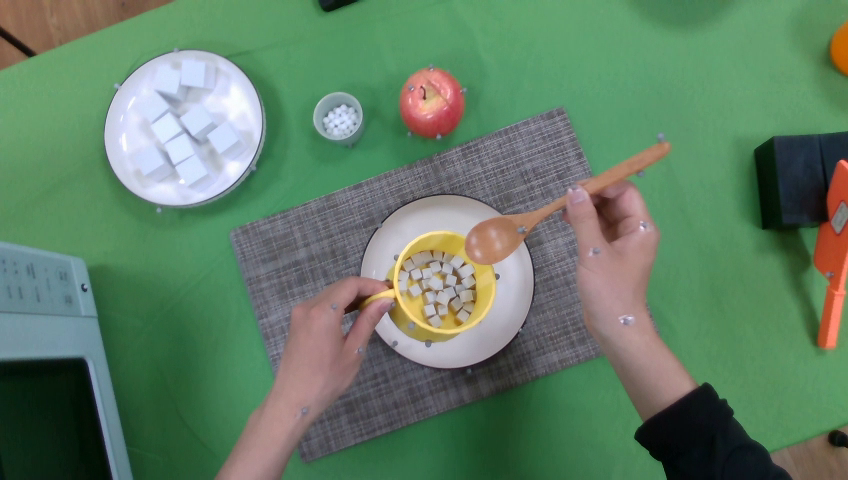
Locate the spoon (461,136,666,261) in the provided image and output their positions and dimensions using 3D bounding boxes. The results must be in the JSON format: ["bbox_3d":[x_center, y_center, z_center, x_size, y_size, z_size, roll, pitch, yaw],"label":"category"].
[{"bbox_3d":[0.113,-0.034,0.514,0.193,0.022,0.041,-30,80,30],"label":"spoon"}]

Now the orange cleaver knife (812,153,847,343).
[{"bbox_3d":[0.450,0.013,0.670,0.012,0.076,0.213,-1,114,7],"label":"orange cleaver knife"}]

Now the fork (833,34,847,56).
[{"bbox_3d":[0.569,-0.256,0.664,0.207,0.019,0.028,-20,75,46],"label":"fork"}]

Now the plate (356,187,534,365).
[{"bbox_3d":[0.025,0.042,0.720,0.209,0.038,0.208,-1,83,4],"label":"plate"}]

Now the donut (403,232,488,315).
[{"bbox_3d":[0.025,0.039,0.709,0.099,0.048,0.099,0,85,4],"label":"donut"}]

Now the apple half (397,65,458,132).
[{"bbox_3d":[-0.002,-0.163,0.736,0.053,0.075,0.080,-41,85,3],"label":"apple half"}]

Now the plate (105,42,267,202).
[{"bbox_3d":[-0.299,-0.148,0.774,0.207,0.039,0.207,-1,82,5],"label":"plate"}]

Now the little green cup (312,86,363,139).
[{"bbox_3d":[-0.106,-0.157,0.761,0.061,0.039,0.061,-1,82,5],"label":"little green cup"}]

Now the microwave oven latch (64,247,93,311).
[{"bbox_3d":[-0.430,0.049,0.740,0.030,0.029,0.079,-16,82,2],"label":"microwave oven latch"}]

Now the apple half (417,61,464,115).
[{"bbox_3d":[0.027,-0.189,0.736,0.033,0.081,0.081,-41,81,2],"label":"apple half"}]

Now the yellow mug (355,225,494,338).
[{"bbox_3d":[-0.003,0.045,0.585,0.131,0.064,0.099,-14,78,-16],"label":"yellow mug"}]

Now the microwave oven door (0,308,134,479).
[{"bbox_3d":[-0.378,0.242,0.607,0.039,0.244,0.354,-18,81,2],"label":"microwave oven door"}]

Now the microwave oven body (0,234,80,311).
[{"bbox_3d":[-0.529,0.246,0.624,0.326,0.261,0.440,-17,82,1],"label":"microwave oven body"}]
